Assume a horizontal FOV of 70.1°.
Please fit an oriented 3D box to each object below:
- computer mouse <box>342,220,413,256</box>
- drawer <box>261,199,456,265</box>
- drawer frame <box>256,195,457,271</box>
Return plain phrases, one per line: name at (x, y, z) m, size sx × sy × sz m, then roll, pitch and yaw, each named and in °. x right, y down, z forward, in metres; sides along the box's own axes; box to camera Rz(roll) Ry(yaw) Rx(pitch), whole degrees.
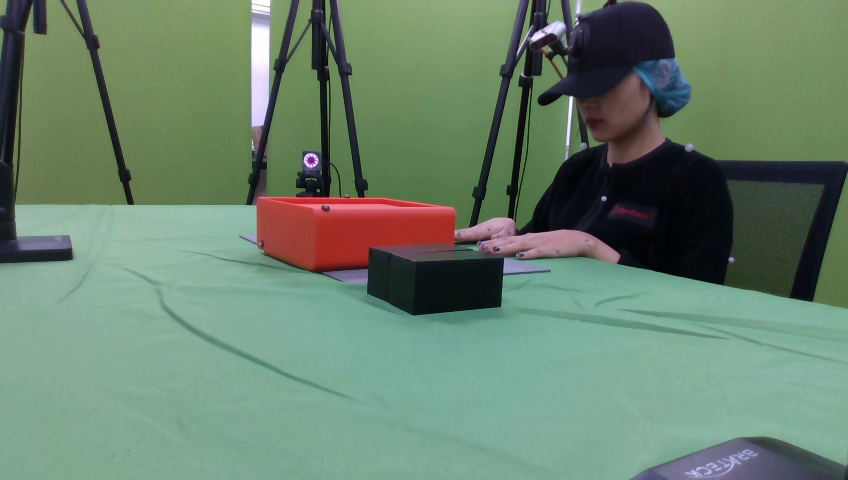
computer mouse at (-0.067, -0.004, 0.853) m, size 0.063 × 0.041 × 0.116 m, roll 1°, pitch 13°, yaw -33°
drawer at (-0.094, -0.017, 0.844) m, size 0.213 × 0.073 × 0.193 m, roll -3°, pitch 10°, yaw -34°
drawer frame at (-0.097, -0.017, 0.843) m, size 0.215 × 0.082 × 0.200 m, roll -4°, pitch 10°, yaw -35°
